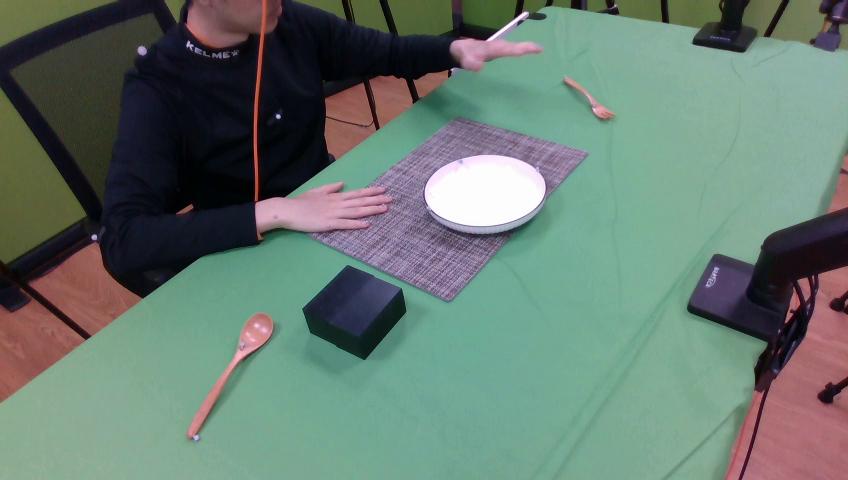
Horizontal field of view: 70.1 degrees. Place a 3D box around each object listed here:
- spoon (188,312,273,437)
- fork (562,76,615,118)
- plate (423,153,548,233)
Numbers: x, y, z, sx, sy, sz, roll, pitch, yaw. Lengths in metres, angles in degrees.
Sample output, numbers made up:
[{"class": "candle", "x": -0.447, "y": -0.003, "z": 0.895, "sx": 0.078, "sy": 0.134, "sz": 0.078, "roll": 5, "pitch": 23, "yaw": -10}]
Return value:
[{"class": "spoon", "x": -0.258, "y": 0.173, "z": 0.803, "sx": 0.041, "sy": 0.021, "sz": 0.193, "roll": 20, "pitch": 45, "yaw": 6}, {"class": "fork", "x": 0.341, "y": -0.303, "z": 1.273, "sx": 0.028, "sy": 0.019, "sz": 0.205, "roll": -23, "pitch": 43, "yaw": -2}, {"class": "plate", "x": 0.104, "y": -0.076, "z": 1.024, "sx": 0.209, "sy": 0.038, "sz": 0.208, "roll": -4, "pitch": 40, "yaw": 4}]
